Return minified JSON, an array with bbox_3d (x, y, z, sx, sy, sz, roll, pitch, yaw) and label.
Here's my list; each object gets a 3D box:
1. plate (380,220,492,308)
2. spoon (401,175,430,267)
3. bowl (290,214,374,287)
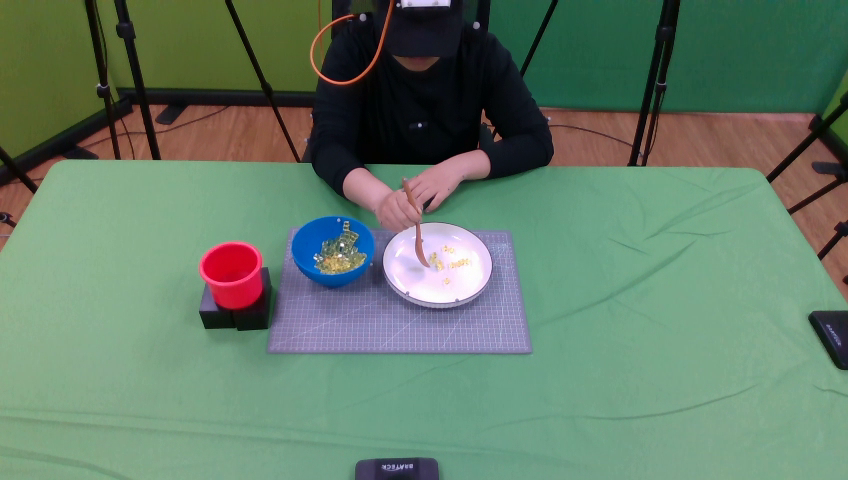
[{"bbox_3d":[0.022,0.048,1.138,0.208,0.039,0.206,2,46,-2],"label":"plate"},{"bbox_3d":[-0.015,-0.031,1.081,0.021,0.194,0.041,-18,31,-11],"label":"spoon"},{"bbox_3d":[-0.166,0.032,1.111,0.151,0.077,0.150,2,46,-2],"label":"bowl"}]
